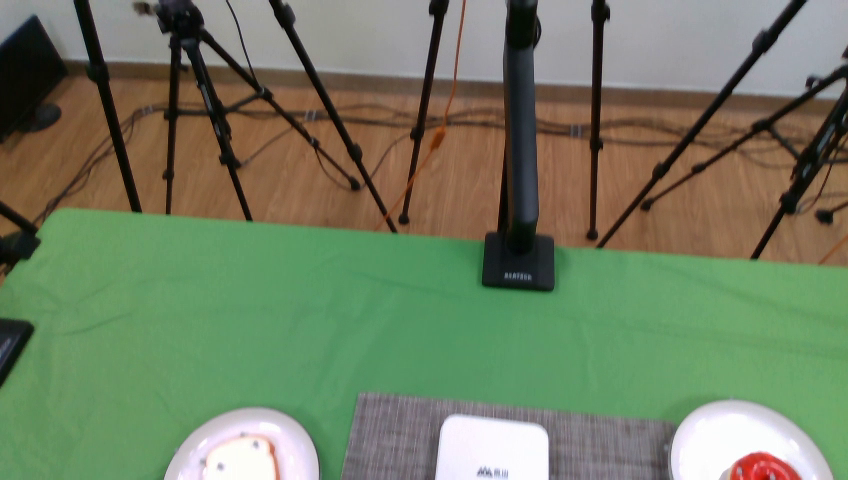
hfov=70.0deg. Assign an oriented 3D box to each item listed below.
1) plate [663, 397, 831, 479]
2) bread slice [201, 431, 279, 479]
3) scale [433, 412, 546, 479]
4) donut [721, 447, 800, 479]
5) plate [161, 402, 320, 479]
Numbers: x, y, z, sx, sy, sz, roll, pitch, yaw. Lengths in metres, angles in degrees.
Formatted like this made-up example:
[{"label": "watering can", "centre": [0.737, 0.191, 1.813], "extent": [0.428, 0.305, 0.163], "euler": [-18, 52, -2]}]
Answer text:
[{"label": "plate", "centre": [0.417, 0.310, 0.793], "extent": [0.208, 0.039, 0.205], "euler": [-1, 53, 1]}, {"label": "bread slice", "centre": [-0.246, 0.321, 0.806], "extent": [0.105, 0.019, 0.130], "euler": [-12, 53, -7]}, {"label": "scale", "centre": [0.084, 0.328, 0.788], "extent": [0.148, 0.032, 0.199], "euler": [5, 54, 5]}, {"label": "donut", "centre": [0.432, 0.317, 0.774], "extent": [0.099, 0.048, 0.098], "euler": [0, 57, 0]}, {"label": "plate", "centre": [-0.240, 0.320, 0.805], "extent": [0.209, 0.038, 0.207], "euler": [-1, 53, 1]}]
